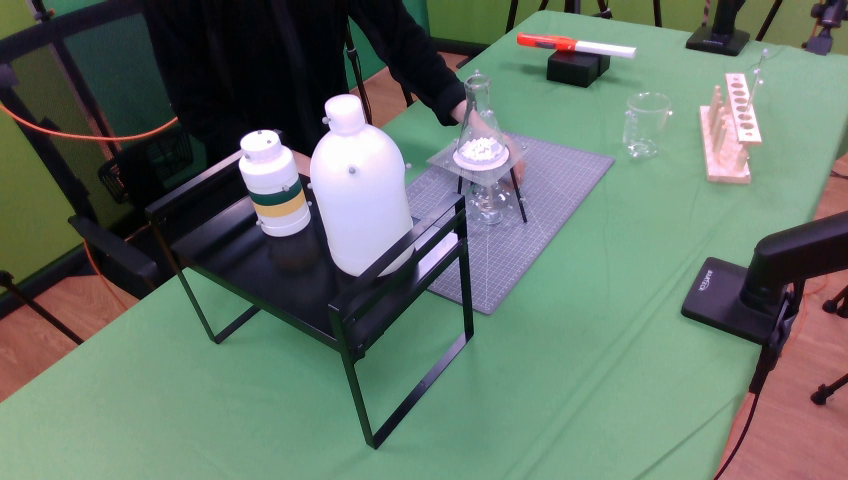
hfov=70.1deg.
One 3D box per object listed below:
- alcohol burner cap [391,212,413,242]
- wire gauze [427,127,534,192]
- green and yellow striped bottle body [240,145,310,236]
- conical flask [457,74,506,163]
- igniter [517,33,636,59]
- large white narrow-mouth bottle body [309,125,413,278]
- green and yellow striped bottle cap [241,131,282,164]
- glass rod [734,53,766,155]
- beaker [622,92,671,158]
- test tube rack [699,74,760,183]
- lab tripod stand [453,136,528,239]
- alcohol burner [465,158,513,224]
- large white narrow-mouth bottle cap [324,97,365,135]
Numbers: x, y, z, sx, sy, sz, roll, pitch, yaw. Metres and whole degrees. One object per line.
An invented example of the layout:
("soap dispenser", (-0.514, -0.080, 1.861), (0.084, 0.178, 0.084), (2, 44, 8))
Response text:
("alcohol burner cap", (-0.038, -0.023, 0.989), (0.034, 0.048, 0.033), (-5, 40, 5))
("wire gauze", (0.086, -0.130, 0.925), (0.124, 0.011, 0.122), (28, 54, 31))
("green and yellow striped bottle body", (-0.181, -0.068, 0.729), (0.063, 0.120, 0.063), (-4, 40, 4))
("conical flask", (0.082, -0.181, 0.893), (0.075, 0.122, 0.075), (-4, 41, 4))
("igniter", (0.336, -0.441, 1.369), (0.275, 0.025, 0.057), (16, 41, 23))
("large white narrow-mouth bottle body", (-0.069, -0.057, 0.644), (0.102, 0.195, 0.101), (-3, 42, 3))
("green and yellow striped bottle cap", (-0.187, -0.107, 0.695), (0.045, 0.020, 0.045), (-3, 39, 3))
("glass rod", (0.540, -0.220, 1.007), (0.008, 0.201, 0.008), (-5, 46, 6))
("beaker", (0.402, -0.210, 1.106), (0.074, 0.101, 0.083), (-9, 40, -2))
("test tube rack", (0.547, -0.208, 1.095), (0.066, 0.085, 0.242), (6, 42, 16))
("lab tripod stand", (0.095, -0.086, 0.974), (0.148, 0.132, 0.147), (-4, 43, 4))
("alcohol burner", (0.105, -0.085, 0.987), (0.078, 0.119, 0.077), (-5, 42, 5))
("large white narrow-mouth bottle cap", (-0.076, -0.120, 0.585), (0.038, 0.024, 0.037), (-3, 42, 3))
